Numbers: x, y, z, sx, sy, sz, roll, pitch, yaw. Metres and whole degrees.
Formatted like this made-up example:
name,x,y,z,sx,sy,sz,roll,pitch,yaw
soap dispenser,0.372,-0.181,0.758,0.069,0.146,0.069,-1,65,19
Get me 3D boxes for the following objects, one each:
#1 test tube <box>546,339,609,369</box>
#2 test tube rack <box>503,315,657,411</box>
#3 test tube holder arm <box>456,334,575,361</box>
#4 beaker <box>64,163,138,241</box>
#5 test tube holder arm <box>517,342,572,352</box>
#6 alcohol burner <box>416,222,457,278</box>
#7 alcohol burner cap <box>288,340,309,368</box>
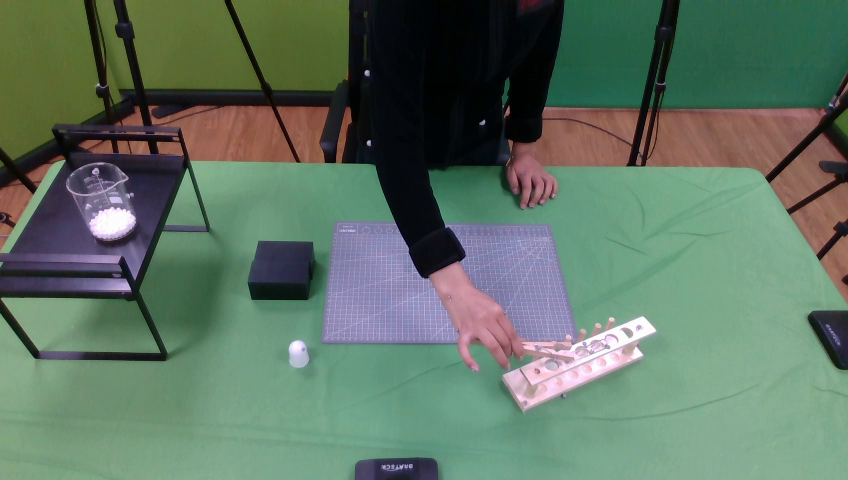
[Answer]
name,x,y,z,sx,sy,sz,roll,pitch,yaw
test tube,0.225,0.180,0.933,0.017,0.150,0.017,16,58,-27
test tube rack,0.253,0.186,0.989,0.242,0.085,0.066,-18,50,-20
test tube holder arm,0.136,0.160,0.900,0.178,0.015,0.013,9,39,-6
beaker,-0.477,-0.055,0.910,0.084,0.101,0.073,-9,48,-13
test tube holder arm,0.180,0.161,0.912,0.088,0.015,0.010,2,41,-14
alcohol burner,0.024,0.014,1.116,0.078,0.120,0.077,1,45,-1
alcohol burner cap,-0.207,0.183,0.991,0.034,0.048,0.033,2,47,-2
